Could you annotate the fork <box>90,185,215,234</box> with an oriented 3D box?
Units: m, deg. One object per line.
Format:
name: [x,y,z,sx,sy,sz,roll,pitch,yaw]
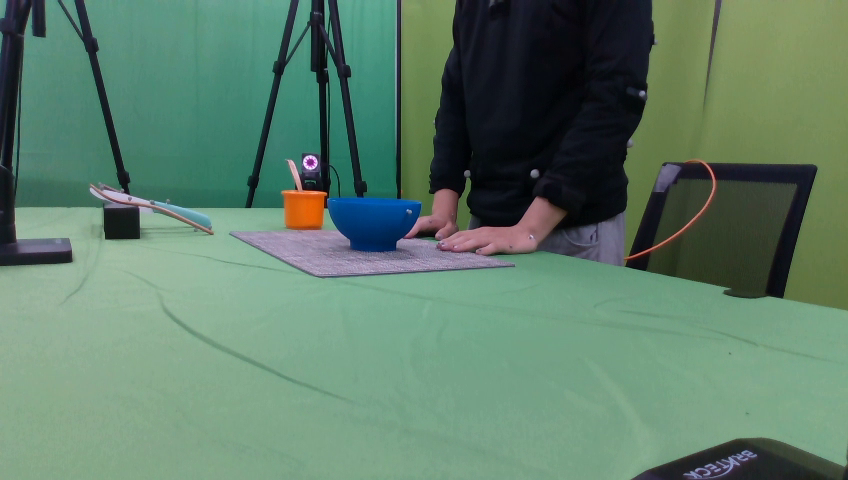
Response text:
fork: [-0.452,-0.049,1.018,0.208,0.018,0.028,21,-7,-33]

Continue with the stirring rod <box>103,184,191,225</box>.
stirring rod: [-0.507,-0.063,1.129,0.177,0.006,0.014,27,1,-31]

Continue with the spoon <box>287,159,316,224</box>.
spoon: [-0.261,-0.104,1.264,0.042,0.193,0.021,-1,-37,-28]

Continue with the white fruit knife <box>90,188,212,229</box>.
white fruit knife: [-0.478,-0.058,1.073,0.208,0.027,0.016,17,-4,-30]

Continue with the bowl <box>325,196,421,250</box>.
bowl: [-0.081,-0.027,0.957,0.151,0.077,0.151,2,7,0]
